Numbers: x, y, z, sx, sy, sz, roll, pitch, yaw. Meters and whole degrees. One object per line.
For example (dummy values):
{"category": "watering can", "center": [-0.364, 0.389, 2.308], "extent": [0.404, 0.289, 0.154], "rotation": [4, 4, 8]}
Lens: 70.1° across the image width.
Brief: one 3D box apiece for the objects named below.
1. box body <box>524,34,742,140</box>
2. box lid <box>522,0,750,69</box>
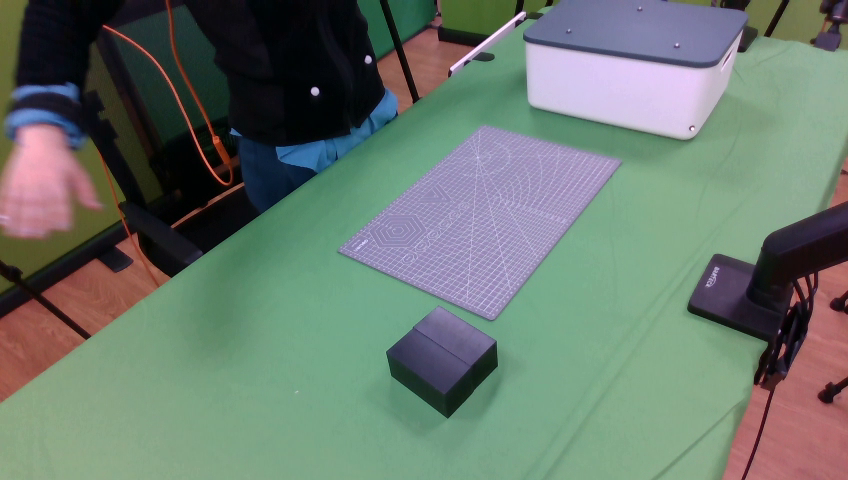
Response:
{"category": "box body", "center": [0.412, -0.354, 1.212], "extent": [0.361, 0.161, 0.254], "rotation": [20, 48, 29]}
{"category": "box lid", "center": [0.405, -0.409, 1.163], "extent": [0.369, 0.015, 0.264], "rotation": [20, 47, 29]}
